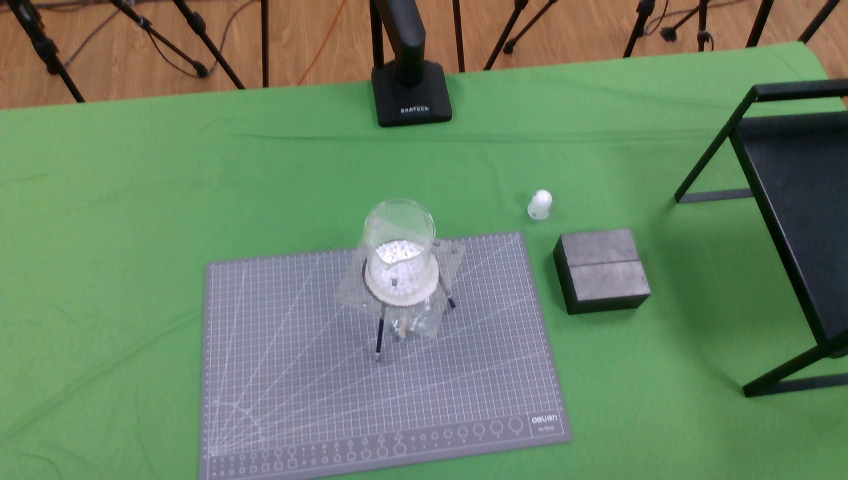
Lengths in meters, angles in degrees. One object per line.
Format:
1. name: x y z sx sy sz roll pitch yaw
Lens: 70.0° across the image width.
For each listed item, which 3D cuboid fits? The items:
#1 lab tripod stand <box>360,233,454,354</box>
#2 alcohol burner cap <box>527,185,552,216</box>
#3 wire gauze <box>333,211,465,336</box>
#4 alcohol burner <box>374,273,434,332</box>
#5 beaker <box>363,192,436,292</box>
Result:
1. lab tripod stand: -0.028 0.058 0.761 0.148 0.132 0.147 2 61 -3
2. alcohol burner cap: 0.172 -0.060 0.889 0.034 0.048 0.033 1 62 -1
3. wire gauze: -0.027 0.034 0.700 0.125 0.011 0.121 21 64 4
4. alcohol burner: -0.025 0.073 0.765 0.078 0.120 0.077 2 64 -4
5. beaker: -0.028 0.009 0.657 0.074 0.101 0.083 16 62 5
